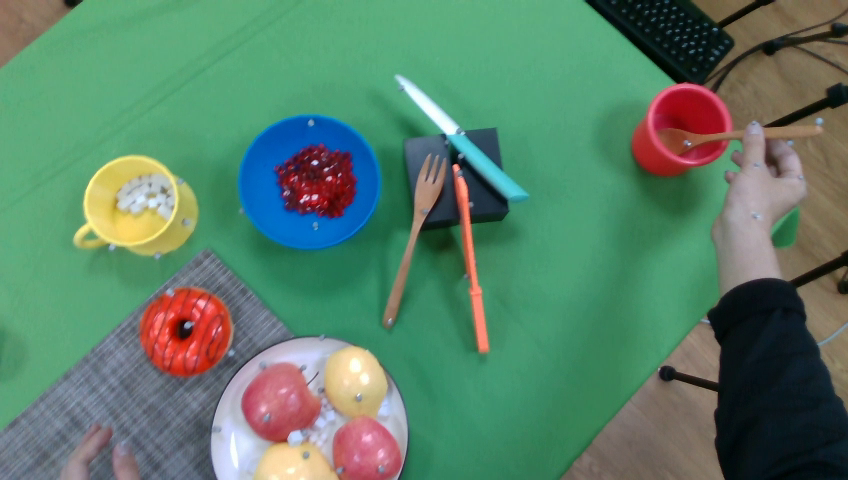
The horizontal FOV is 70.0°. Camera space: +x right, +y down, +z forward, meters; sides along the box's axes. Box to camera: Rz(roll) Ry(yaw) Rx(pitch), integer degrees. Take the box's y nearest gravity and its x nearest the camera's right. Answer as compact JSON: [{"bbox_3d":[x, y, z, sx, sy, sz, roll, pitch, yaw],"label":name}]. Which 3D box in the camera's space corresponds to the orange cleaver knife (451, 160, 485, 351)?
[{"bbox_3d":[0.048,0.018,0.675,0.012,0.077,0.212,-9,106,0],"label":"orange cleaver knife"}]

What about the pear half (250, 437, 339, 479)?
[{"bbox_3d":[-0.124,0.252,0.630,0.110,0.056,0.076,18,84,-4],"label":"pear half"}]

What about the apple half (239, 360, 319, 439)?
[{"bbox_3d":[-0.156,0.170,0.638,0.075,0.053,0.080,-27,86,-7],"label":"apple half"}]

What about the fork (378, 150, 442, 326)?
[{"bbox_3d":[-0.019,0.002,0.671,0.028,0.018,0.207,15,100,-8],"label":"fork"}]

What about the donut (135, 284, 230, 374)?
[{"bbox_3d":[-0.262,0.097,0.659,0.099,0.048,0.098,0,82,-2],"label":"donut"}]

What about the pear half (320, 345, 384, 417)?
[{"bbox_3d":[-0.081,0.158,0.648,0.070,0.031,0.088,-15,91,18],"label":"pear half"}]

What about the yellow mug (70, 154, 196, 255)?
[{"bbox_3d":[-0.327,-0.029,0.670,0.131,0.064,0.099,-34,83,-7],"label":"yellow mug"}]

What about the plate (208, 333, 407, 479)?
[{"bbox_3d":[-0.122,0.205,0.652,0.209,0.038,0.208,1,80,-3],"label":"plate"}]

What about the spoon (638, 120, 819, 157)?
[{"bbox_3d":[0.326,-0.117,0.669,0.022,0.192,0.041,27,76,-33],"label":"spoon"}]

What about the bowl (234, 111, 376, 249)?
[{"bbox_3d":[-0.127,-0.059,0.680,0.151,0.077,0.151,1,81,-3],"label":"bowl"}]

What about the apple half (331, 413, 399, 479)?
[{"bbox_3d":[-0.070,0.225,0.635,0.081,0.033,0.081,1,94,16],"label":"apple half"}]

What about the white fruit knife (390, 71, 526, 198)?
[{"bbox_3d":[0.034,-0.120,0.681,0.207,0.016,0.027,45,52,7],"label":"white fruit knife"}]
